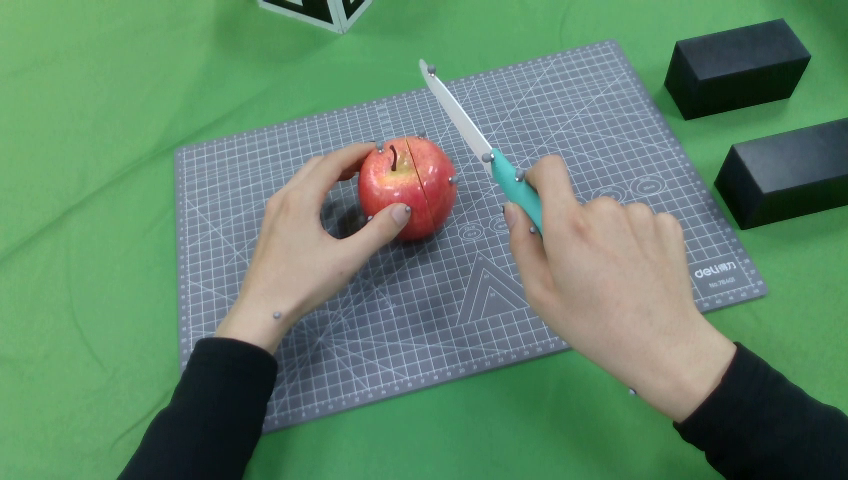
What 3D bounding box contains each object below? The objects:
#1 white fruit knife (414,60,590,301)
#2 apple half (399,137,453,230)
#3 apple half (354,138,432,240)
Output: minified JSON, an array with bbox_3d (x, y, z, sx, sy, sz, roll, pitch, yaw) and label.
[{"bbox_3d":[0.046,-0.049,0.406,0.016,0.027,0.206,-26,69,-22],"label":"white fruit knife"},{"bbox_3d":[0.008,-0.049,0.496,0.033,0.082,0.080,-19,58,0],"label":"apple half"},{"bbox_3d":[-0.029,-0.036,0.494,0.053,0.075,0.080,-19,63,0],"label":"apple half"}]
